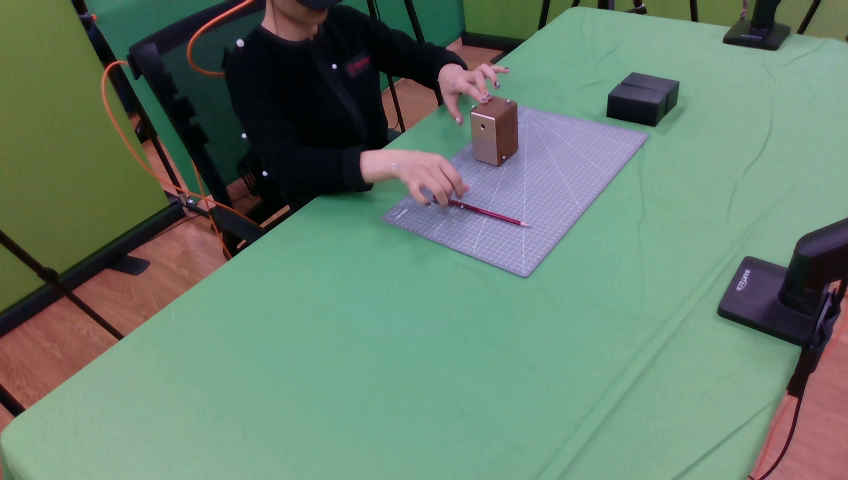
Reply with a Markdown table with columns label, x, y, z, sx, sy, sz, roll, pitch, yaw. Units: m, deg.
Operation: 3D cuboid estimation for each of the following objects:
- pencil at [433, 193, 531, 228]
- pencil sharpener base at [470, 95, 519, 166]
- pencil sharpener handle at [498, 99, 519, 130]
| label | x | y | z | sx | sy | sz | roll | pitch | yaw |
| --- | --- | --- | --- | --- | --- | --- | --- | --- | --- |
| pencil | 0.096 | -0.050 | 1.028 | 0.192 | 0.012 | 0.012 | 21 | 49 | 29 |
| pencil sharpener base | 0.134 | -0.205 | 1.128 | 0.061 | 0.107 | 0.077 | 23 | 50 | 33 |
| pencil sharpener handle | 0.165 | -0.243 | 1.148 | 0.035 | 0.068 | 0.031 | 21 | 49 | 35 |
